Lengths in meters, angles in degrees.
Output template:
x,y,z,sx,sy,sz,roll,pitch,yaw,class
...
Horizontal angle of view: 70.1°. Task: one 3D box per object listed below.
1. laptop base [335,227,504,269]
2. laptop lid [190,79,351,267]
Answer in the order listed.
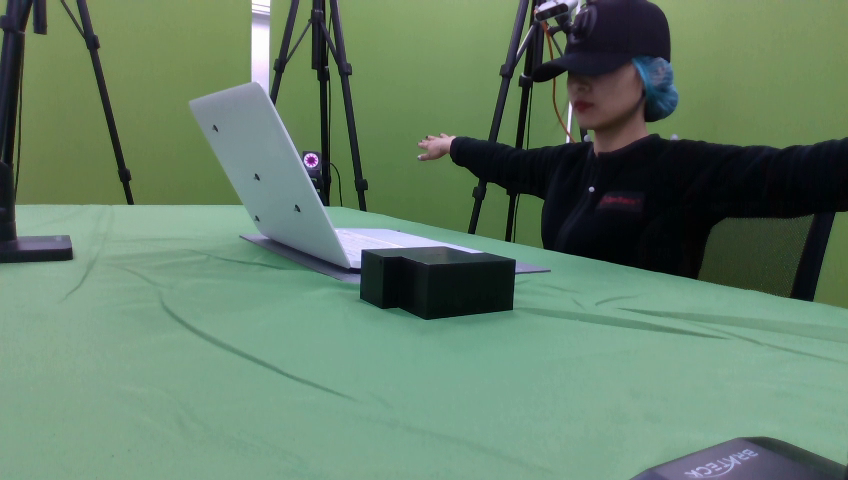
x,y,z,sx,sy,sz,roll,pitch,yaw,class
-0.077,0.009,0.914,0.237,0.023,0.352,1,7,-33,laptop base
-0.220,-0.087,0.809,0.013,0.242,0.355,-34,25,-24,laptop lid
